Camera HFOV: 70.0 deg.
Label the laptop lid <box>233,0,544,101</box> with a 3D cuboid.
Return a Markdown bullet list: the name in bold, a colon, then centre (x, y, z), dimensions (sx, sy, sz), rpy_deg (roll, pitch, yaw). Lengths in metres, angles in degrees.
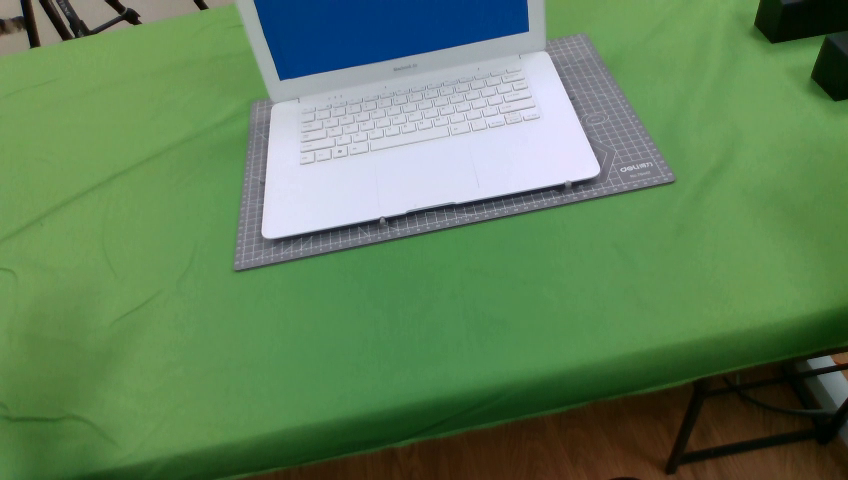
- **laptop lid**: centre (-0.042, -0.294, 0.690), dimensions (0.357, 0.244, 0.013), rpy_deg (-12, 40, 3)

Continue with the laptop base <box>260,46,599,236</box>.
- **laptop base**: centre (-0.007, -0.118, 0.689), dimensions (0.354, 0.023, 0.233), rpy_deg (-11, 51, 2)
